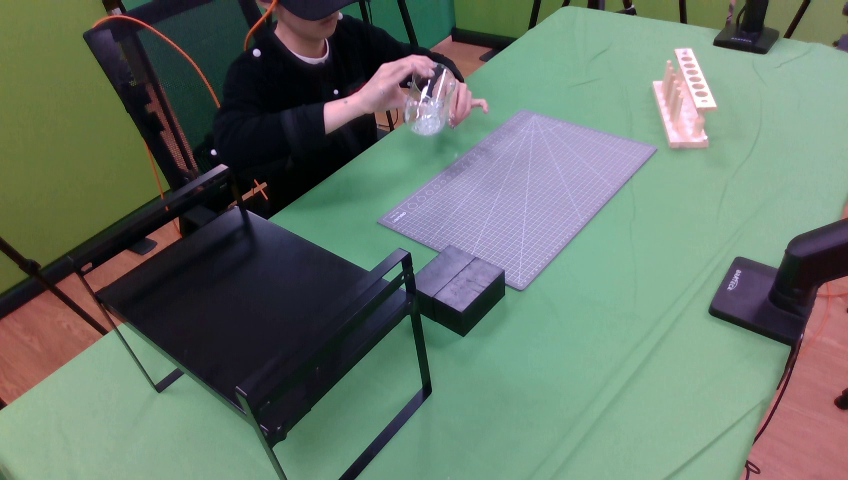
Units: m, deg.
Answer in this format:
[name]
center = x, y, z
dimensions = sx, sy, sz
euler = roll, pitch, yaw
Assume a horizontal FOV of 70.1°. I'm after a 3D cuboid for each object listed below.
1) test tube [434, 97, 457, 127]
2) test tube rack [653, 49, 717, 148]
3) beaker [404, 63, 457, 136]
[test tube]
center = 0.041, -0.233, 1.109
dimensions = 0.017, 0.151, 0.017
euler = -1, 85, 13
[test tube rack]
center = 0.502, -0.281, 1.177
dimensions = 0.066, 0.085, 0.241
euler = 1, 41, 11
[beaker]
center = 0.010, -0.224, 0.981
dimensions = 0.074, 0.084, 0.100
euler = 5, 55, 12
